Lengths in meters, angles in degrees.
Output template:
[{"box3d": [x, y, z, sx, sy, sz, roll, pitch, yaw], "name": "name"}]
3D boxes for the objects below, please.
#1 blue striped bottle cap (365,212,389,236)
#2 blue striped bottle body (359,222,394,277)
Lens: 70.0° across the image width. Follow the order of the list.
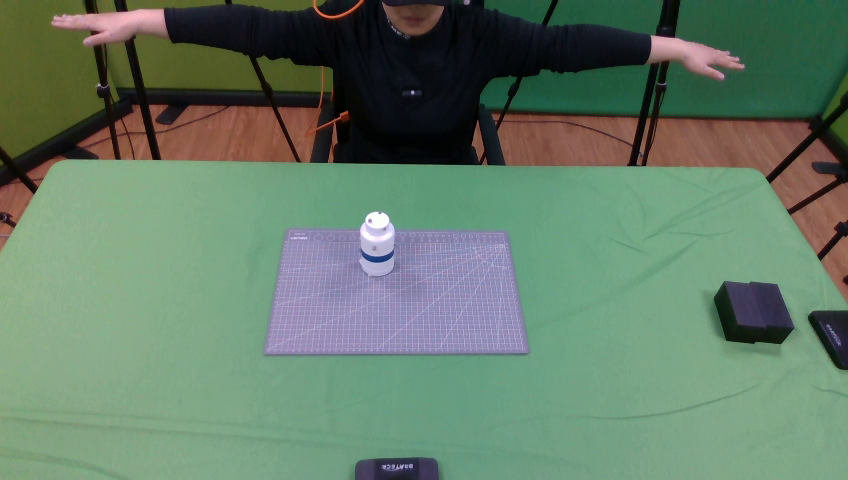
[{"box3d": [-0.084, -0.029, 1.077, 0.044, 0.021, 0.044, 1, 45, -1], "name": "blue striped bottle cap"}, {"box3d": [-0.087, 0.006, 1.113, 0.063, 0.121, 0.062, 2, 46, -2], "name": "blue striped bottle body"}]
